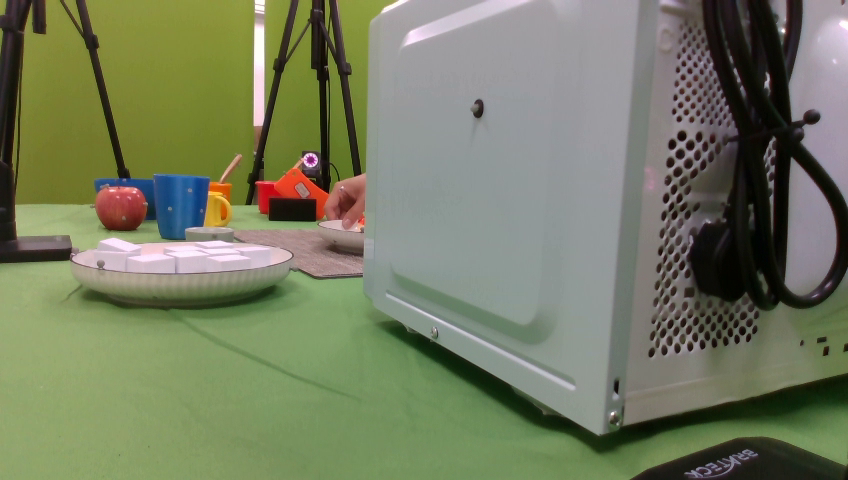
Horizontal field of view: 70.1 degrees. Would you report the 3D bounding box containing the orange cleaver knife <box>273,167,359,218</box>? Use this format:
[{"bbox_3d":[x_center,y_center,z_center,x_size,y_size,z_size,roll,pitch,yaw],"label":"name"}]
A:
[{"bbox_3d":[-0.238,-0.091,1.381,0.212,0.077,0.012,31,0,-19],"label":"orange cleaver knife"}]

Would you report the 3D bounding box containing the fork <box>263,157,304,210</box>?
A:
[{"bbox_3d":[-0.345,-0.143,1.505,0.028,0.019,0.207,-4,46,29],"label":"fork"}]

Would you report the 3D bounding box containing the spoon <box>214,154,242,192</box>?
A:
[{"bbox_3d":[-0.439,-0.124,1.317,0.041,0.193,0.022,5,-36,16],"label":"spoon"}]

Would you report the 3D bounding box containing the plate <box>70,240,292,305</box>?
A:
[{"bbox_3d":[-0.242,0.031,0.618,0.208,0.039,0.207,2,8,0],"label":"plate"}]

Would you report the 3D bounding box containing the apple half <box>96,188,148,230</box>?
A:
[{"bbox_3d":[-0.517,-0.052,1.036,0.081,0.074,0.053,2,10,-26],"label":"apple half"}]

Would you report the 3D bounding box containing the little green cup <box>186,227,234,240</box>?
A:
[{"bbox_3d":[-0.284,0.005,0.805,0.061,0.038,0.061,2,8,0],"label":"little green cup"}]

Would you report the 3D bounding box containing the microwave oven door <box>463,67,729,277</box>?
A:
[{"bbox_3d":[0.206,-0.096,0.812,0.354,0.243,0.039,9,11,40],"label":"microwave oven door"}]

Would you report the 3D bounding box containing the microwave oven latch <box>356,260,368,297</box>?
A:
[{"bbox_3d":[-0.020,0.033,0.530,0.079,0.029,0.030,-1,7,-27],"label":"microwave oven latch"}]

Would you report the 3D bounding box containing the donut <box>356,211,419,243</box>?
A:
[{"bbox_3d":[-0.056,-0.018,0.945,0.099,0.048,0.099,5,6,0],"label":"donut"}]

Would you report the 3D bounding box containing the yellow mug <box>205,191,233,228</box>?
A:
[{"bbox_3d":[-0.415,-0.057,1.132,0.130,0.064,0.100,6,8,16],"label":"yellow mug"}]

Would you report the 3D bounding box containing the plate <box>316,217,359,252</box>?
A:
[{"bbox_3d":[-0.064,-0.007,0.943,0.209,0.038,0.209,3,8,0],"label":"plate"}]

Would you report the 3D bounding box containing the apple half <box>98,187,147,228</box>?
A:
[{"bbox_3d":[-0.534,-0.059,1.071,0.082,0.081,0.032,-1,11,-25],"label":"apple half"}]

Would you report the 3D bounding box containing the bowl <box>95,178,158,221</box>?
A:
[{"bbox_3d":[-0.576,-0.081,1.217,0.151,0.077,0.151,3,8,0],"label":"bowl"}]

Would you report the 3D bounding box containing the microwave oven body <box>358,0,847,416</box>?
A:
[{"bbox_3d":[0.211,-0.047,0.474,0.444,0.260,0.324,-1,7,-28],"label":"microwave oven body"}]

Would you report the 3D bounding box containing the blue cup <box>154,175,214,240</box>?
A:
[{"bbox_3d":[-0.390,-0.053,0.978,0.093,0.100,0.092,3,6,0],"label":"blue cup"}]
